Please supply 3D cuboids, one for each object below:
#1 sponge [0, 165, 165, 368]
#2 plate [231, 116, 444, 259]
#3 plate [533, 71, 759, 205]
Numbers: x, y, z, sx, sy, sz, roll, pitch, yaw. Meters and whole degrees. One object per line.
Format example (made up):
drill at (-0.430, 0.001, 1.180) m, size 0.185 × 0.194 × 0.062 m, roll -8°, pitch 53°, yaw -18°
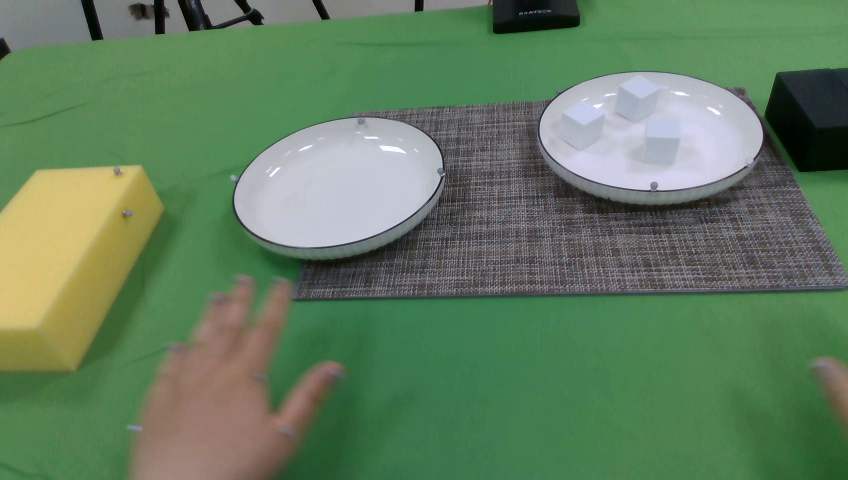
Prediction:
sponge at (-0.342, 0.017, 0.560) m, size 0.118 × 0.061 × 0.205 m, roll -2°, pitch 44°, yaw 6°
plate at (-0.082, -0.052, 0.600) m, size 0.209 × 0.038 × 0.207 m, roll -5°, pitch 43°, yaw 5°
plate at (0.213, -0.099, 0.600) m, size 0.207 × 0.039 × 0.205 m, roll -5°, pitch 43°, yaw 5°
